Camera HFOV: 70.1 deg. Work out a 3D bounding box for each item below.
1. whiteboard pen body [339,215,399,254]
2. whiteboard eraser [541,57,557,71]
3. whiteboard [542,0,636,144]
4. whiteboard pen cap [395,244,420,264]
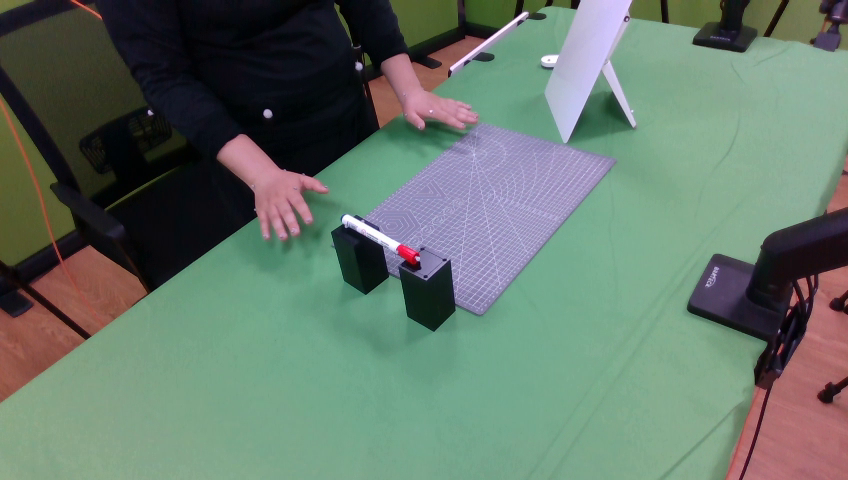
[{"bbox_3d":[-0.067,-0.004,0.835,0.139,0.017,0.017,28,51,33],"label":"whiteboard pen body"},{"bbox_3d":[0.323,-0.412,1.407,0.101,0.019,0.041,1,42,11],"label":"whiteboard eraser"},{"bbox_3d":[0.366,-0.351,1.160,0.144,0.305,0.216,10,39,-10],"label":"whiteboard"},{"bbox_3d":[-0.022,0.018,0.800,0.032,0.017,0.017,29,52,36],"label":"whiteboard pen cap"}]
